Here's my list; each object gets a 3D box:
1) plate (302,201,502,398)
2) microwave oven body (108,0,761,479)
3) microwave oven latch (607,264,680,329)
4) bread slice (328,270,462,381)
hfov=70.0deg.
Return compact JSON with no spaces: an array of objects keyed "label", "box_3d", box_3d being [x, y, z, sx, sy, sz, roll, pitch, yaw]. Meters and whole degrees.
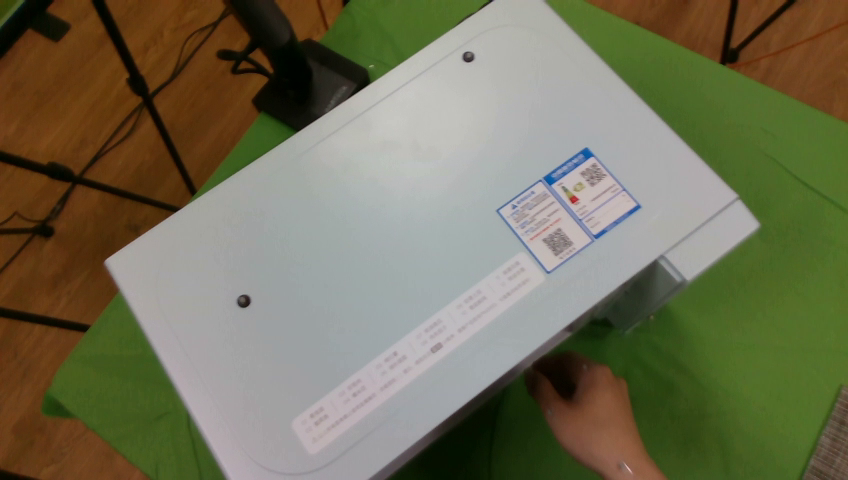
[{"label":"plate","box_3d":[-0.023,0.062,0.642,0.207,0.039,0.206,0,74,2]},{"label":"microwave oven body","box_3d":[0.004,0.026,0.599,0.441,0.262,0.324,-36,73,-6]},{"label":"microwave oven latch","box_3d":[0.243,0.064,0.669,0.079,0.030,0.030,-35,73,-6]},{"label":"bread slice","box_3d":[-0.032,0.088,0.642,0.134,0.018,0.106,9,73,-3]}]
